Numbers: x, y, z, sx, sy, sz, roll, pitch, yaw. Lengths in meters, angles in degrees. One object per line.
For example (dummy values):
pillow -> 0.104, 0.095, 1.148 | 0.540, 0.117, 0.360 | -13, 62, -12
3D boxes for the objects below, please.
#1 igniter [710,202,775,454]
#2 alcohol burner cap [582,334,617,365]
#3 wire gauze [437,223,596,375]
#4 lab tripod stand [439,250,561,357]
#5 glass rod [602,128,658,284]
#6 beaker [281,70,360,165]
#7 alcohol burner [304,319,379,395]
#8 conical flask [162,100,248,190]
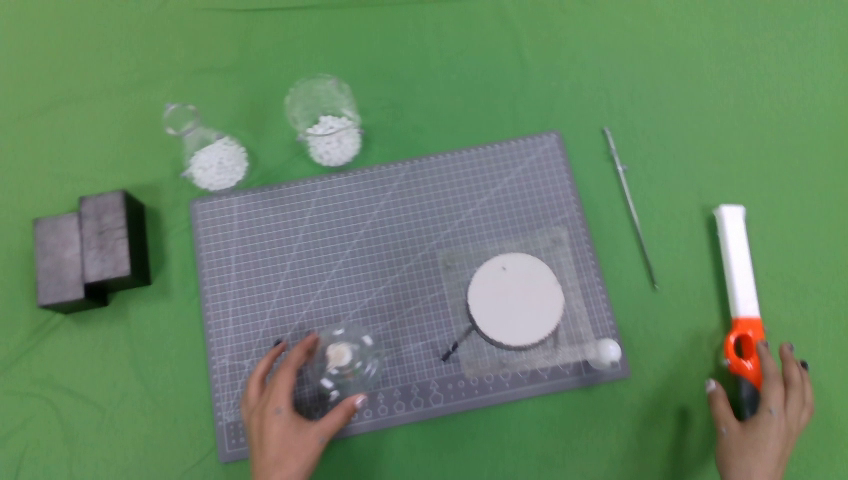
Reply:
igniter -> 0.350, 0.091, 0.669 | 0.057, 0.025, 0.275 | 2, 75, -10
alcohol burner cap -> 0.191, 0.115, 0.650 | 0.034, 0.048, 0.033 | 0, 75, 0
wire gauze -> 0.082, 0.053, 0.549 | 0.125, 0.011, 0.121 | -10, 76, -2
lab tripod stand -> 0.078, 0.072, 0.614 | 0.148, 0.132, 0.147 | 0, 77, 0
glass rod -> 0.241, -0.044, 0.712 | 0.008, 0.008, 0.198 | -12, 75, -4
beaker -> -0.110, -0.133, 0.687 | 0.084, 0.100, 0.074 | 24, 76, 5
alcohol burner -> -0.084, 0.117, 0.610 | 0.078, 0.119, 0.077 | 1, 77, -3
conical flask -> -0.246, -0.109, 0.668 | 0.075, 0.122, 0.075 | 0, 75, 0
